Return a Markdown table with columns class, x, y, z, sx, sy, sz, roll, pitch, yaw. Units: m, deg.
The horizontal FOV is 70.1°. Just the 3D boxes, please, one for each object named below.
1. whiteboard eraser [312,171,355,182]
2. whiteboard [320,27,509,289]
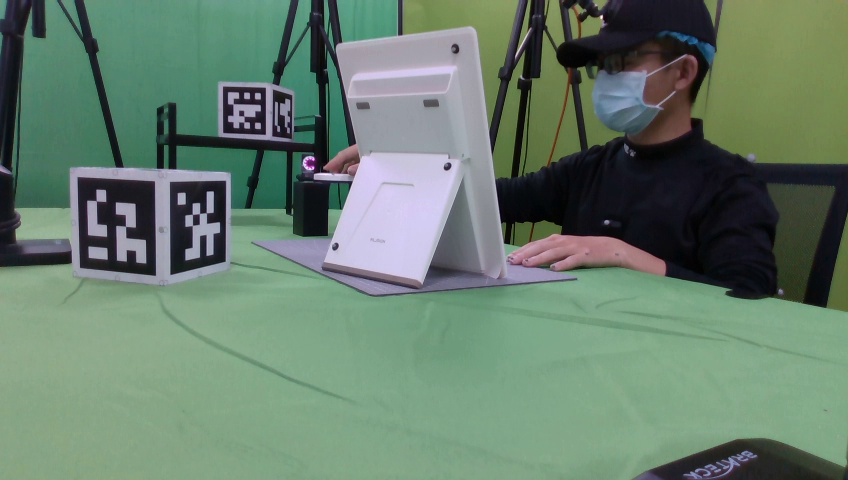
| class | x | y | z | sx | sy | sz | roll | pitch | yaw |
| --- | --- | --- | --- | --- | --- | --- | --- | --- | --- |
| whiteboard eraser | -0.165 | -0.122 | 1.163 | 0.102 | 0.019 | 0.041 | 0 | 8 | -29 |
| whiteboard | -0.045 | -0.076 | 0.721 | 0.216 | 0.305 | 0.144 | 9 | 29 | 39 |
